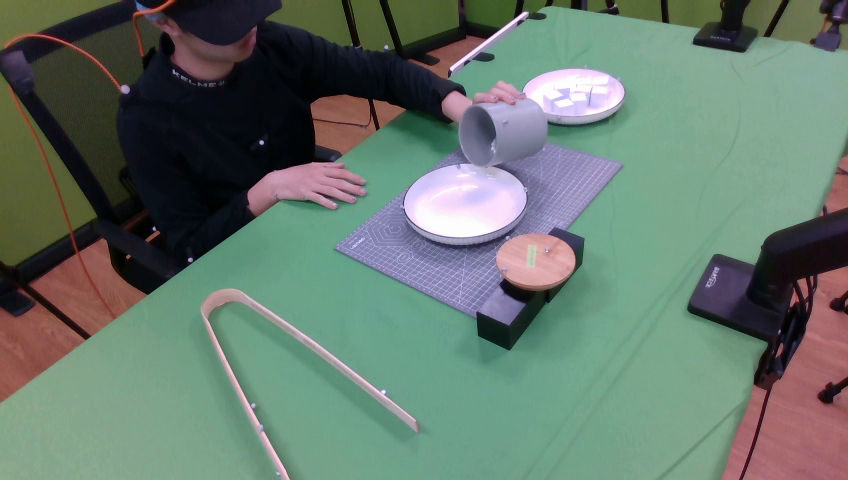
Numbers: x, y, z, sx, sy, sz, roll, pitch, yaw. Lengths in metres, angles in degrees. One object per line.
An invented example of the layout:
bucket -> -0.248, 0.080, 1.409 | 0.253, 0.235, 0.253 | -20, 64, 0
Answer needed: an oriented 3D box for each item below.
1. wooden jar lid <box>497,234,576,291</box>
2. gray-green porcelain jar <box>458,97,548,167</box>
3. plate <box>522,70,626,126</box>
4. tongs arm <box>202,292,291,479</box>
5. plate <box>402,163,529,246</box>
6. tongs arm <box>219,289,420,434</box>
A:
wooden jar lid -> 0.155, 0.032, 0.834 | 0.108, 0.021, 0.108 | -5, 40, 4
gray-green porcelain jar -> 0.140, -0.187, 1.036 | 0.127, 0.106, 0.105 | -17, 39, -32
plate -> 0.308, -0.289, 1.251 | 0.207, 0.039, 0.206 | -4, 40, 4
tongs arm -> -0.216, 0.187, 0.772 | 0.051, 0.026, 0.381 | -27, 43, -24
plate -> 0.069, -0.056, 1.008 | 0.209, 0.038, 0.208 | -4, 40, 4
tongs arm -> -0.152, 0.151, 0.812 | 0.384, 0.028, 0.028 | 26, 53, 33
